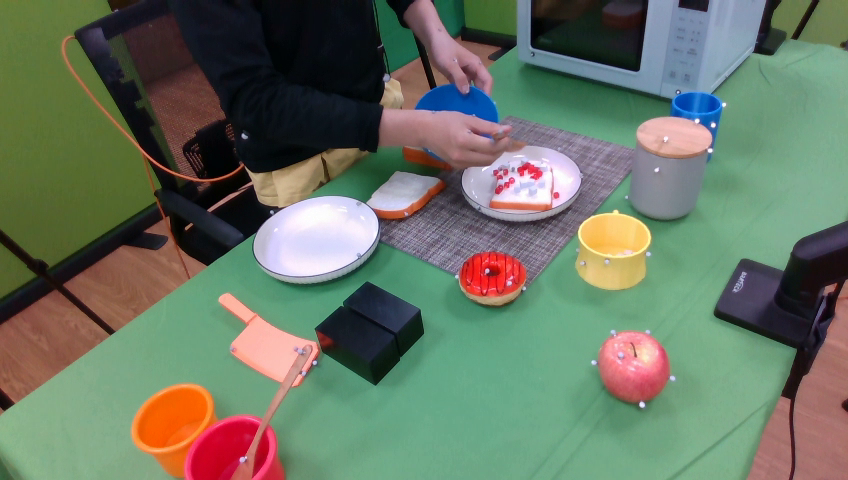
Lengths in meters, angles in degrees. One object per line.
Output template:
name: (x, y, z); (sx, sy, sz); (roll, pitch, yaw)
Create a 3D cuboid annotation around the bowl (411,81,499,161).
bowl: (0.054, -0.193, 1.057); (0.151, 0.077, 0.150); (-1, 67, 2)

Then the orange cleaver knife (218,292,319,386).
orange cleaver knife: (-0.235, 0.136, 0.850); (0.209, 0.012, 0.077); (25, 57, 30)

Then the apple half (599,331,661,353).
apple half: (0.249, 0.134, 0.738); (0.081, 0.081, 0.032); (-1, 46, 7)

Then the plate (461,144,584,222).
plate: (0.167, -0.095, 1.040); (0.207, 0.039, 0.206); (-4, 40, 4)

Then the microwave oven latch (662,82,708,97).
microwave oven latch: (0.518, -0.298, 1.203); (0.078, 0.029, 0.030); (28, 53, 35)

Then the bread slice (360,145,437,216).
bread slice: (-0.053, -0.103, 1.046); (0.106, 0.018, 0.134); (19, 67, 22)

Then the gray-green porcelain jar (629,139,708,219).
gray-green porcelain jar: (0.383, -0.105, 0.958); (0.106, 0.127, 0.105); (-4, 41, 4)

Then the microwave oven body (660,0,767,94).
microwave oven body: (0.473, -0.517, 1.313); (0.438, 0.261, 0.327); (26, 51, 34)

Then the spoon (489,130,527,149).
spoon: (0.119, -0.151, 0.891); (0.041, 0.021, 0.194); (-7, -1, 19)

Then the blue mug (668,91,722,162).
blue mug: (0.474, -0.207, 1.079); (0.082, 0.106, 0.116); (4, 42, 13)

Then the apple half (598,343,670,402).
apple half: (0.247, 0.161, 0.710); (0.081, 0.075, 0.053); (2, 47, 5)

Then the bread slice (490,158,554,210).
bread slice: (0.174, -0.100, 1.047); (0.104, 0.019, 0.131); (4, 44, 12)

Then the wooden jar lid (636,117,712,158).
wooden jar lid: (0.377, -0.151, 0.917); (0.108, 0.021, 0.108); (-2, 42, 2)

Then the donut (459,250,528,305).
donut: (0.100, 0.053, 0.872); (0.099, 0.048, 0.098); (-5, 40, 4)

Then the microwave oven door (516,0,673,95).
microwave oven door: (0.344, -0.458, 1.257); (0.353, 0.245, 0.039); (26, 51, 33)

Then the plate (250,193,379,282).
plate: (-0.174, 0.000, 0.984); (0.209, 0.038, 0.208); (-3, 40, 3)

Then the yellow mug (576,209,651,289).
yellow mug: (0.279, 0.004, 0.893); (0.099, 0.064, 0.130); (6, 42, 14)

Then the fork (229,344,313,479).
fork: (-0.173, 0.205, 0.662); (0.028, 0.019, 0.207); (29, 94, 35)
